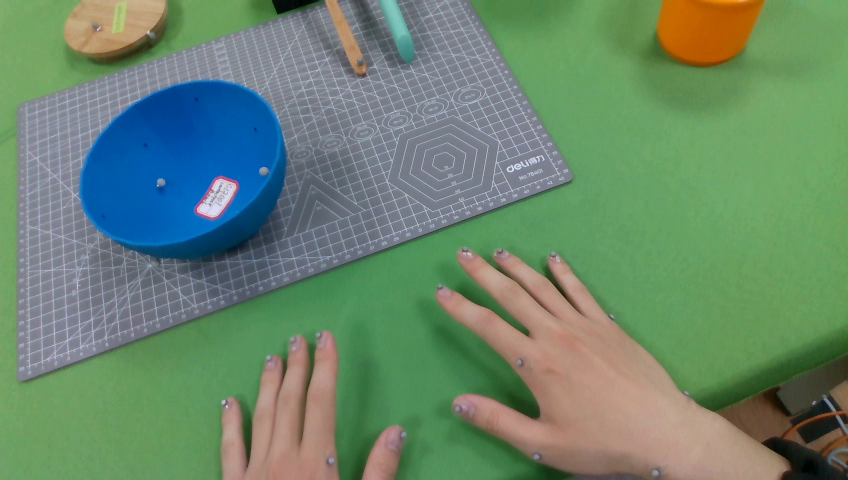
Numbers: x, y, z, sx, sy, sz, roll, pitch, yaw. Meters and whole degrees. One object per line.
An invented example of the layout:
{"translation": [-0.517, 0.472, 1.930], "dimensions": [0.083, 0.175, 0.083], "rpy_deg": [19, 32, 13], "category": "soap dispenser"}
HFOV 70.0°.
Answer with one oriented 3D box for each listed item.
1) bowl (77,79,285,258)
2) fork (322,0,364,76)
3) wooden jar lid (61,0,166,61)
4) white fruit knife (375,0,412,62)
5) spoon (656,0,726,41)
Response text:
{"translation": [-0.172, -0.042, 0.469], "dimensions": [0.151, 0.077, 0.150], "rpy_deg": [-3, 60, 6], "category": "bowl"}
{"translation": [-0.100, -0.246, 0.573], "dimensions": [0.028, 0.019, 0.206], "rpy_deg": [-22, 79, -11], "category": "fork"}
{"translation": [-0.318, -0.226, 0.629], "dimensions": [0.108, 0.021, 0.107], "rpy_deg": [-2, 60, 4], "category": "wooden jar lid"}
{"translation": [-0.053, -0.261, 0.577], "dimensions": [0.016, 0.027, 0.206], "rpy_deg": [-21, 74, -6], "category": "white fruit knife"}
{"translation": [0.271, -0.229, 0.478], "dimensions": [0.022, 0.194, 0.041], "rpy_deg": [12, 52, -38], "category": "spoon"}
